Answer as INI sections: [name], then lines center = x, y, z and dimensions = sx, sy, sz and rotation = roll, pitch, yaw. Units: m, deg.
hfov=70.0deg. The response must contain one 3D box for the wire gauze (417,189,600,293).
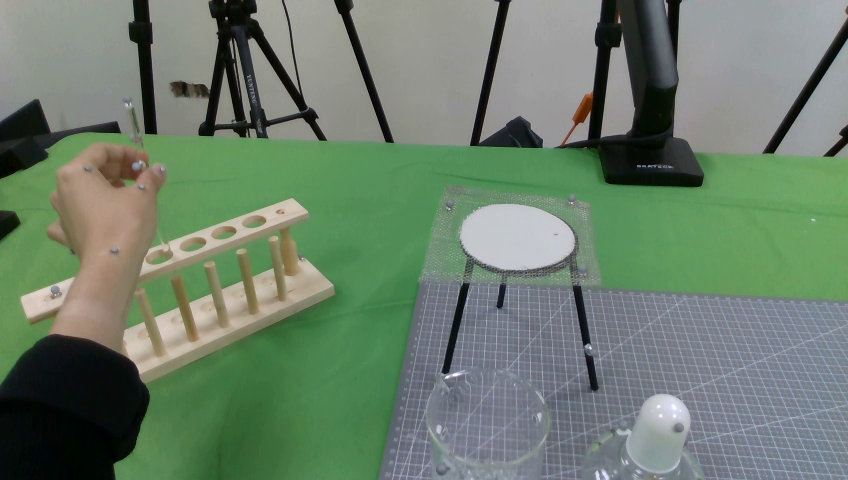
[wire gauze]
center = 0.065, -0.001, 0.451
dimensions = 0.121, 0.011, 0.124
rotation = 5, 36, 8

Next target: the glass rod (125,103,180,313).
[glass rod]
center = -0.224, -0.017, 0.507
dimensions = 0.008, 0.201, 0.008
rotation = 2, 33, -1

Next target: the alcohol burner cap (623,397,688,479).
[alcohol burner cap]
center = 0.138, 0.113, 0.355
dimensions = 0.034, 0.048, 0.033
rotation = 1, 37, -1

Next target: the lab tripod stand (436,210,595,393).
[lab tripod stand]
center = 0.075, 0.053, 0.490
dimensions = 0.148, 0.132, 0.147
rotation = 1, 34, 0

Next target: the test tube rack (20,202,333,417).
[test tube rack]
center = -0.208, 0.053, 0.548
dimensions = 0.243, 0.086, 0.066
rotation = -24, 40, -29

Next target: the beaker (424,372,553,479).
[beaker]
center = 0.036, 0.145, 0.390
dimensions = 0.074, 0.101, 0.083
rotation = -25, 41, -30

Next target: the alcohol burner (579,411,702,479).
[alcohol burner]
center = 0.138, 0.143, 0.376
dimensions = 0.078, 0.120, 0.077
rotation = -1, 37, 1
